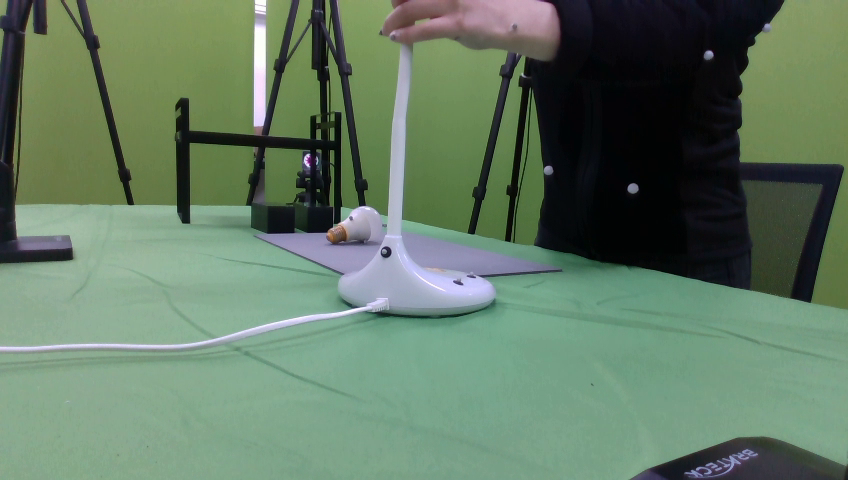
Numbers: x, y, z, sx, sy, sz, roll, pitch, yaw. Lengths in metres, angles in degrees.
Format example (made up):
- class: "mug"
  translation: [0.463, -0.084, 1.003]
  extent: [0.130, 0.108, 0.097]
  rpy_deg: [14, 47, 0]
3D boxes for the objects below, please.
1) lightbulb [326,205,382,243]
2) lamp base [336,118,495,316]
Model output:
- class: "lightbulb"
  translation: [-0.117, -0.021, 0.999]
  extent: [0.059, 0.059, 0.108]
  rpy_deg: [10, 25, 43]
- class: "lamp base"
  translation: [-0.009, -0.026, 0.589]
  extent: [0.160, 0.180, 0.179]
  rpy_deg: [4, 10, 14]
